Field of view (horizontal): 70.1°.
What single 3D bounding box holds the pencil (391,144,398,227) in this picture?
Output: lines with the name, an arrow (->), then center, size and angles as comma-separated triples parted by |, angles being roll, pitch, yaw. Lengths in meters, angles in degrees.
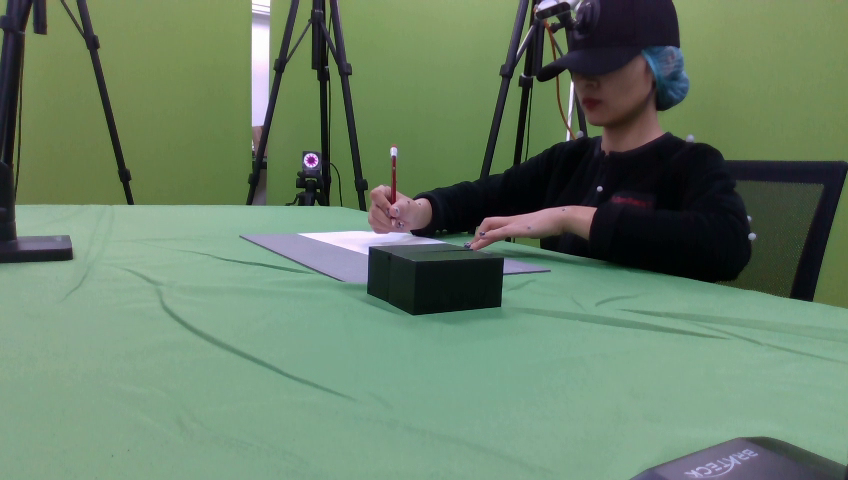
pencil -> -0.049, -0.093, 0.994 | 0.012, 0.012, 0.193 | 1, 49, -5
